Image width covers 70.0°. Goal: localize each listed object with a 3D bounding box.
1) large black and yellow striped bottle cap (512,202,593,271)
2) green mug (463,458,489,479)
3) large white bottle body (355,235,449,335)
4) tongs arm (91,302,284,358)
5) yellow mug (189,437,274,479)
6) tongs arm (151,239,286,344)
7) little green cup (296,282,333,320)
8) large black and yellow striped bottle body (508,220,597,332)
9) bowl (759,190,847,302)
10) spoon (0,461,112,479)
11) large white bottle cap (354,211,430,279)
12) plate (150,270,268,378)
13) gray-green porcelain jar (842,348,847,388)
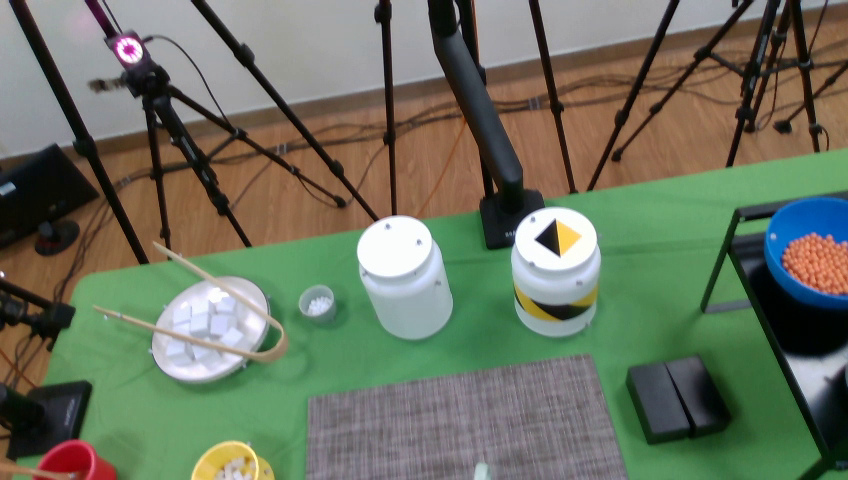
[{"bbox_3d":[0.183,-0.007,0.867,0.115,0.019,0.114,-5,53,6],"label":"large black and yellow striped bottle cap"},{"bbox_3d":[0.066,0.344,0.778,0.092,0.106,0.124,3,54,14],"label":"green mug"},{"bbox_3d":[-0.035,0.056,0.968,0.130,0.186,0.129,-6,53,8],"label":"large white bottle body"},{"bbox_3d":[-0.412,0.141,1.031,0.382,0.027,0.050,13,54,22],"label":"tongs arm"},{"bbox_3d":[-0.282,0.356,0.866,0.099,0.064,0.130,12,58,18],"label":"yellow mug"},{"bbox_3d":[-0.372,0.080,1.071,0.384,0.028,0.028,26,56,29],"label":"tongs arm"},{"bbox_3d":[-0.188,0.108,1.052,0.061,0.039,0.061,-5,54,7],"label":"little green cup"},{"bbox_3d":[0.197,0.045,0.932,0.130,0.186,0.129,-5,53,8],"label":"large black and yellow striped bottle body"},{"bbox_3d":[0.480,0.020,0.734,0.151,0.077,0.150,-5,53,7],"label":"bowl"},{"bbox_3d":[-0.562,0.339,0.885,0.195,0.021,0.041,24,47,-27],"label":"spoon"},{"bbox_3d":[-0.048,0.006,0.901,0.115,0.018,0.113,-5,53,8],"label":"large white bottle cap"},{"bbox_3d":[-0.370,0.147,1.058,0.207,0.039,0.205,-5,53,7],"label":"plate"},{"bbox_3d":[0.505,0.123,0.622,0.106,0.128,0.105,-5,52,7],"label":"gray-green porcelain jar"}]
